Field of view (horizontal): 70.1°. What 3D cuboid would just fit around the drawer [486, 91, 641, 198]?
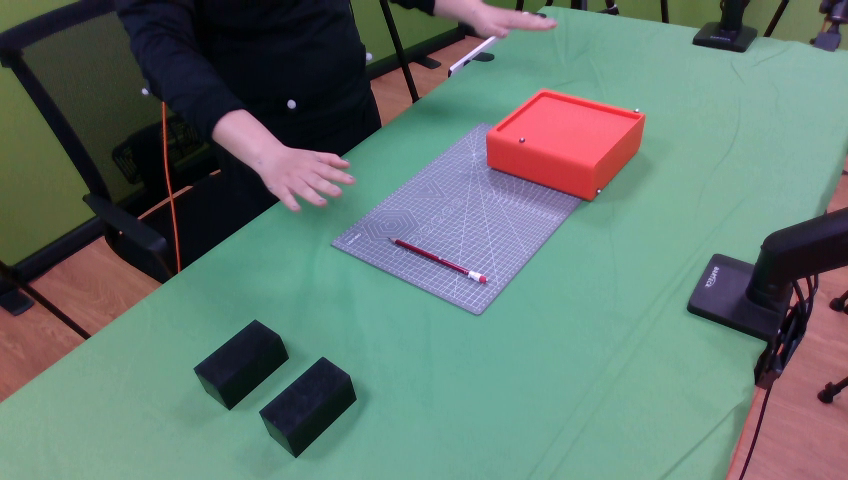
[{"bbox_3d":[0.251,-0.178,1.095,0.210,0.073,0.195,25,48,30],"label":"drawer"}]

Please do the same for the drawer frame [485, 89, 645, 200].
[{"bbox_3d":[0.253,-0.179,1.094,0.212,0.083,0.202,24,48,30],"label":"drawer frame"}]

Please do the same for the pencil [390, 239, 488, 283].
[{"bbox_3d":[0.018,0.030,0.938,0.192,0.012,0.012,22,48,33],"label":"pencil"}]
